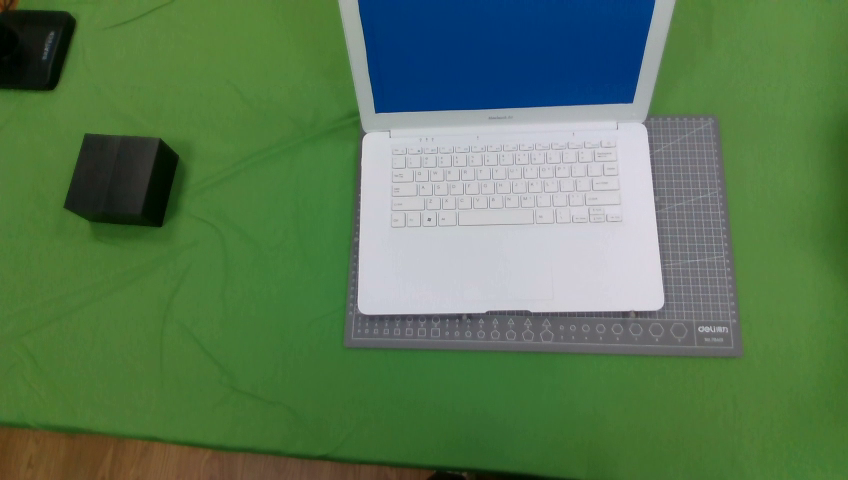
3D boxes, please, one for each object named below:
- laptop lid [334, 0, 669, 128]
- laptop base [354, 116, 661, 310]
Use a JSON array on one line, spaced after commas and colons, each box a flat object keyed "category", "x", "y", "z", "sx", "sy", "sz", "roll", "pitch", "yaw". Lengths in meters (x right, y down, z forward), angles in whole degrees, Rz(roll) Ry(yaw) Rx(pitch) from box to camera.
[{"category": "laptop lid", "x": 0.083, "y": -0.223, "z": 0.672, "sx": 0.356, "sy": 0.244, "sz": 0.013, "roll": -3, "pitch": 49, "yaw": 5}, {"category": "laptop base", "x": 0.093, "y": -0.034, "z": 0.730, "sx": 0.354, "sy": 0.023, "sz": 0.234, "roll": -2, "pitch": 77, "yaw": 3}]
